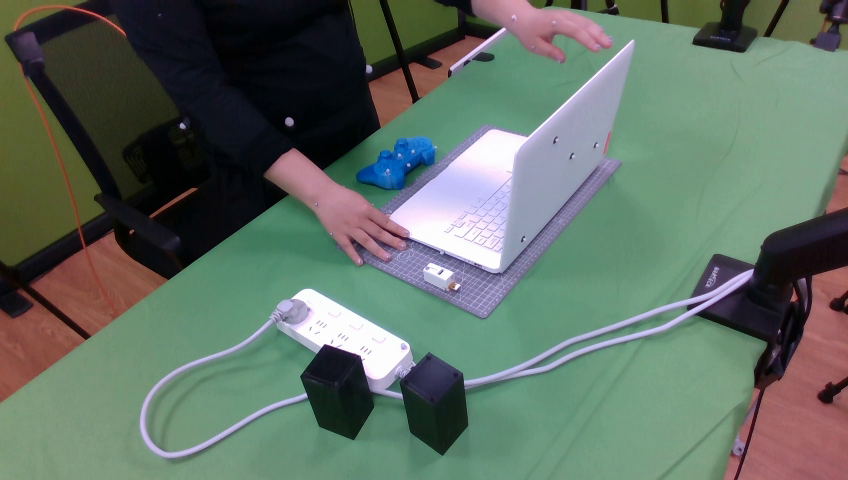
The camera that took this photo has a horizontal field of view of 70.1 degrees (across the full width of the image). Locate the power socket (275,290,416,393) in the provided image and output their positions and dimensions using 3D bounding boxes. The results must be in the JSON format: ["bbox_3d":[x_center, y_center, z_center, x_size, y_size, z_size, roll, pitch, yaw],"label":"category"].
[{"bbox_3d":[-0.114,0.132,0.821,0.225,0.033,0.072,24,48,32],"label":"power socket"}]

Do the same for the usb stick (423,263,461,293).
[{"bbox_3d":[0.028,0.058,0.889,0.059,0.027,0.021,24,49,29],"label":"usb stick"}]

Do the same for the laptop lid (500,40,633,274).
[{"bbox_3d":[0.217,-0.128,0.905,0.013,0.242,0.358,28,50,25],"label":"laptop lid"}]

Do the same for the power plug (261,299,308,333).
[{"bbox_3d":[-0.193,0.110,0.830,0.073,0.053,0.035,-36,48,-23],"label":"power plug"}]

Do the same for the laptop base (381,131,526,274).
[{"bbox_3d":[0.123,-0.081,1.049,0.233,0.023,0.355,20,47,33],"label":"laptop base"}]

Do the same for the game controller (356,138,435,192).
[{"bbox_3d":[-0.049,-0.149,1.136,0.096,0.052,0.155,27,51,29],"label":"game controller"}]
